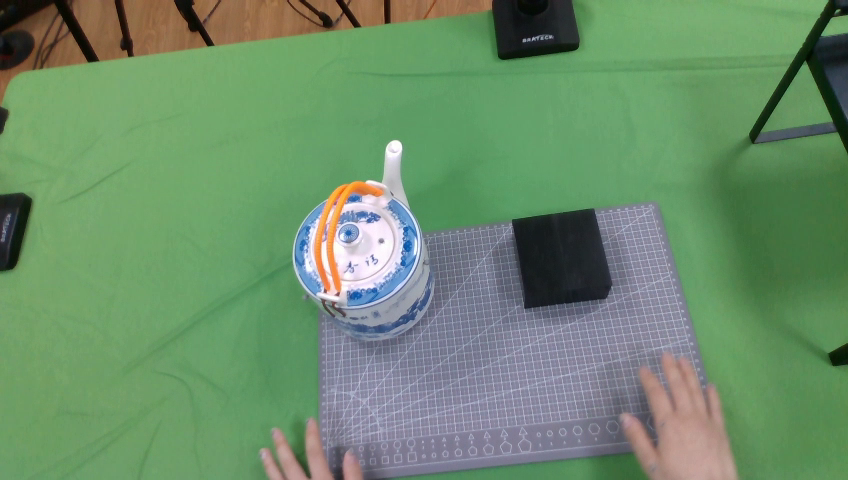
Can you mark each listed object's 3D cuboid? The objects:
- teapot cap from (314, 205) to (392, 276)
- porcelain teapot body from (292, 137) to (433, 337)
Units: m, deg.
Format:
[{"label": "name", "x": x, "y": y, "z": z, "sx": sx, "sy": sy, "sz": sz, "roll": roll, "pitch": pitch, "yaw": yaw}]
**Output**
[{"label": "teapot cap", "x": -0.077, "y": -0.002, "z": 0.641, "sx": 0.085, "sy": 0.044, "sz": 0.084, "roll": -3, "pitch": 63, "yaw": 7}, {"label": "porcelain teapot body", "x": -0.062, "y": -0.012, "z": 0.686, "sx": 0.145, "sy": 0.227, "sz": 0.204, "roll": 13, "pitch": 68, "yaw": 13}]
